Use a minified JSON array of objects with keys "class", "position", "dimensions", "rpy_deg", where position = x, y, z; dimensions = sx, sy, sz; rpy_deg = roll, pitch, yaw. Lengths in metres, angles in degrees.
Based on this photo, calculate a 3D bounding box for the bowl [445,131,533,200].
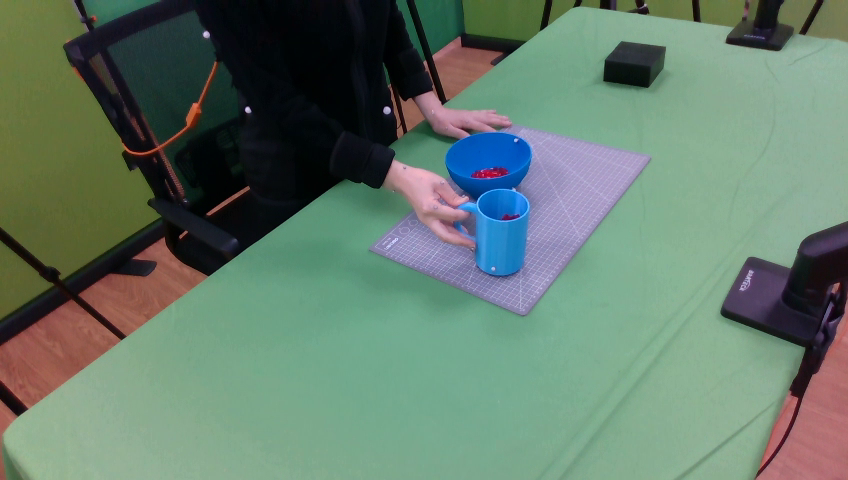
[{"class":"bowl","position":[0.115,-0.118,1.056],"dimensions":[0.151,0.077,0.150],"rpy_deg":[-6,40,5]}]

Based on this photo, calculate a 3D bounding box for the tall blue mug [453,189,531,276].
[{"class":"tall blue mug","position":[0.099,-0.010,0.892],"dimensions":[0.107,0.108,0.077],"rpy_deg":[-4,43,-2]}]
